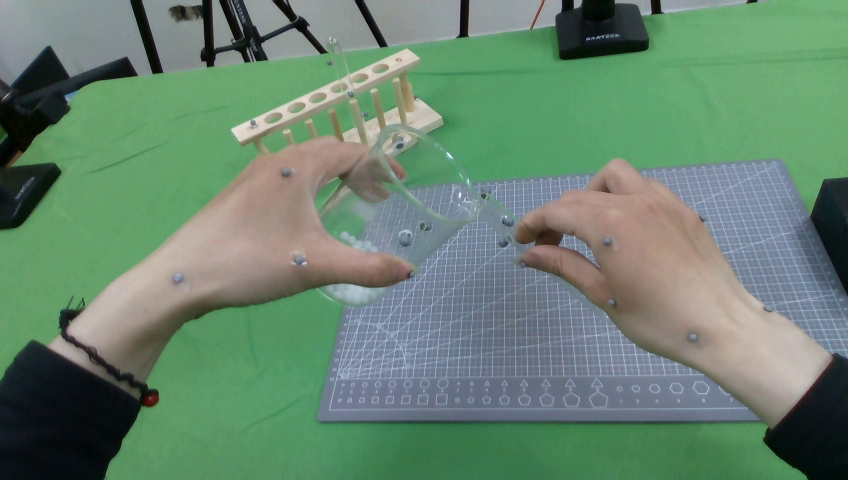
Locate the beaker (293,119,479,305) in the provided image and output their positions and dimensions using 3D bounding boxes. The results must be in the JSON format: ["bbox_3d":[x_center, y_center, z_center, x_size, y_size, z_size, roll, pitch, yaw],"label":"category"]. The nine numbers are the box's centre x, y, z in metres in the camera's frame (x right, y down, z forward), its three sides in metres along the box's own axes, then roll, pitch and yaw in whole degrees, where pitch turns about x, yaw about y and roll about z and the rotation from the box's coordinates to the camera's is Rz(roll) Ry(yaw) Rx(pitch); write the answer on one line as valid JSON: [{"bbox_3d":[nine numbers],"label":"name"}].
[{"bbox_3d":[-0.025,-0.012,0.372,0.100,0.085,0.073,-41,48,31],"label":"beaker"}]

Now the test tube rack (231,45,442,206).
[{"bbox_3d":[-0.101,-0.144,0.749,0.242,0.086,0.066,-29,47,-15],"label":"test tube rack"}]

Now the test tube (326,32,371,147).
[{"bbox_3d":[-0.087,-0.172,0.709,0.017,0.152,0.017,-7,45,8],"label":"test tube"}]

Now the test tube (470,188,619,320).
[{"bbox_3d":[0.086,0.014,0.411,0.017,0.151,0.017,-38,30,27],"label":"test tube"}]
